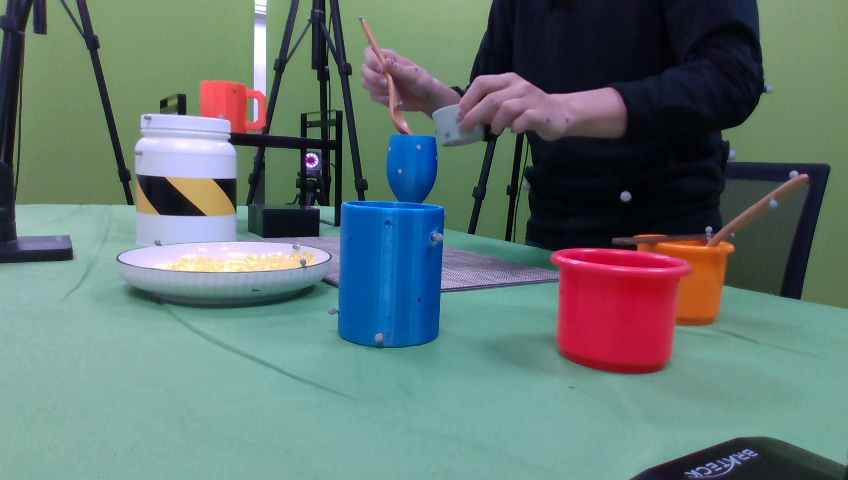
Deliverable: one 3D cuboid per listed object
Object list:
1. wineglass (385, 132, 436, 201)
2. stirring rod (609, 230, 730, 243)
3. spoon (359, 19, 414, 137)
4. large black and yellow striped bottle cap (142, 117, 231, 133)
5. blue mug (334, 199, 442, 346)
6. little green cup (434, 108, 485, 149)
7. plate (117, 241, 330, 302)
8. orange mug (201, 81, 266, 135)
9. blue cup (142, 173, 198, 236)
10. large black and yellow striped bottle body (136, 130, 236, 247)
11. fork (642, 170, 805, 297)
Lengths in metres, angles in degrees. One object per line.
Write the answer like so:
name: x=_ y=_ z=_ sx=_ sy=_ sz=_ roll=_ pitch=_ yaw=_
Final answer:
wineglass: x=-0.020 y=-0.061 z=0.838 sx=0.074 sy=0.172 sz=0.073 roll=2 pitch=7 yaw=0
stirring rod: x=0.241 y=-0.004 z=0.582 sx=0.177 sy=0.006 sz=0.014 roll=-4 pitch=10 yaw=-33
spoon: x=-0.055 y=-0.228 z=0.849 sx=0.021 sy=0.193 sz=0.042 roll=-23 pitch=-12 yaw=24
large black and yellow striped bottle cap: x=-0.328 y=-0.159 z=0.839 sx=0.115 sy=0.019 sz=0.115 roll=1 pitch=9 yaw=0
blue mug: x=-0.034 y=0.020 z=0.498 sx=0.083 sy=0.106 sz=0.116 roll=0 pitch=7 yaw=-20
little green cup: x=0.041 y=-0.131 z=0.716 sx=0.061 sy=0.038 sz=0.061 roll=3 pitch=-2 yaw=0
plate: x=-0.203 y=0.031 z=0.630 sx=0.209 sy=0.038 sz=0.209 roll=3 pitch=7 yaw=0
orange mug: x=-0.377 y=-0.260 z=1.198 sx=0.126 sy=0.101 sz=0.083 roll=-3 pitch=8 yaw=-6
blue cup: x=-0.425 y=-0.060 z=1.014 sx=0.093 sy=0.100 sz=0.092 roll=4 pitch=9 yaw=0
large black and yellow striped bottle body: x=-0.332 y=-0.076 z=0.851 sx=0.131 sy=0.184 sz=0.130 roll=3 pitch=8 yaw=0
fork: x=0.261 y=0.004 z=0.545 sx=0.028 sy=0.018 sz=0.207 roll=6 pitch=-37 yaw=-15
